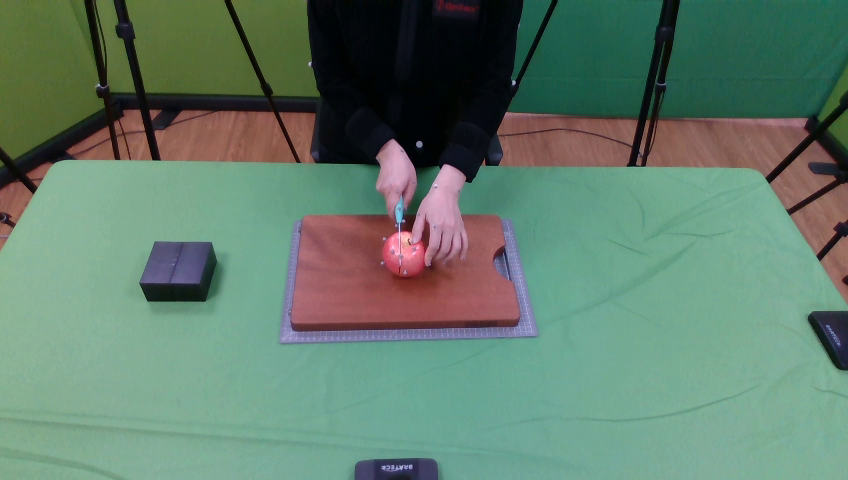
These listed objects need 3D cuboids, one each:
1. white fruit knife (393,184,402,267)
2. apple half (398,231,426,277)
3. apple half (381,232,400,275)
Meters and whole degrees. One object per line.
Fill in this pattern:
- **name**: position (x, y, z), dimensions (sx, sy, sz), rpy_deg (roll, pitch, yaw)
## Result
- **white fruit knife**: position (-0.046, -0.032, 1.109), dimensions (0.016, 0.027, 0.206), rpy_deg (-3, 49, -2)
- **apple half**: position (-0.024, 0.027, 1.095), dimensions (0.053, 0.075, 0.080), rpy_deg (0, 43, -12)
- **apple half**: position (-0.061, 0.027, 1.091), dimensions (0.033, 0.081, 0.081), rpy_deg (0, 46, -5)
